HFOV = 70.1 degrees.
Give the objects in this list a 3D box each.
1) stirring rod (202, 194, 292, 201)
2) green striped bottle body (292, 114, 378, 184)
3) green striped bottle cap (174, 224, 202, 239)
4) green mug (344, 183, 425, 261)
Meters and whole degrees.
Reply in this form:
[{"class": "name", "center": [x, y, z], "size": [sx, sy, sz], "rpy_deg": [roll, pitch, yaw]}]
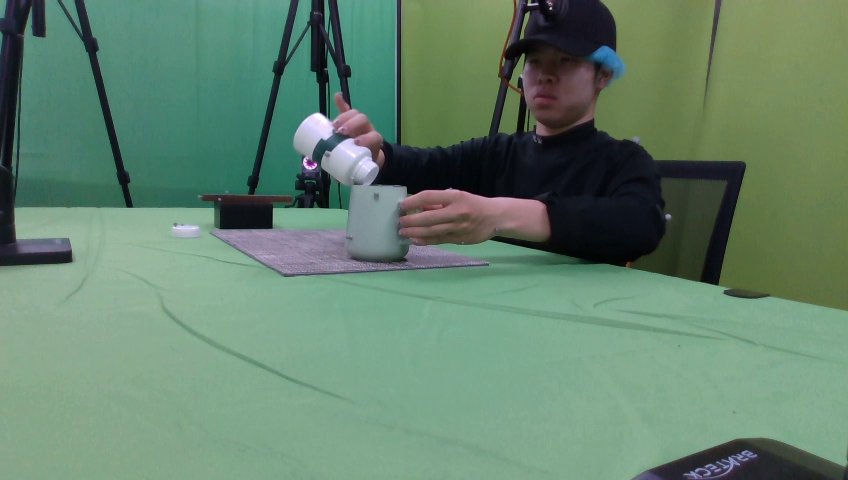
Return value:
[{"class": "stirring rod", "center": [-0.353, -0.086, 1.216], "size": [0.177, 0.014, 0.006], "rpy_deg": [-1, 12, -27]}, {"class": "green striped bottle body", "center": [-0.124, -0.125, 0.867], "size": [0.119, 0.063, 0.063], "rpy_deg": [35, 15, 11]}, {"class": "green striped bottle cap", "center": [-0.404, -0.015, 1.036], "size": [0.044, 0.020, 0.044], "rpy_deg": [-2, 9, 1]}, {"class": "green mug", "center": [-0.053, -0.026, 0.849], "size": [0.125, 0.105, 0.093], "rpy_deg": [7, 8, 33]}]
